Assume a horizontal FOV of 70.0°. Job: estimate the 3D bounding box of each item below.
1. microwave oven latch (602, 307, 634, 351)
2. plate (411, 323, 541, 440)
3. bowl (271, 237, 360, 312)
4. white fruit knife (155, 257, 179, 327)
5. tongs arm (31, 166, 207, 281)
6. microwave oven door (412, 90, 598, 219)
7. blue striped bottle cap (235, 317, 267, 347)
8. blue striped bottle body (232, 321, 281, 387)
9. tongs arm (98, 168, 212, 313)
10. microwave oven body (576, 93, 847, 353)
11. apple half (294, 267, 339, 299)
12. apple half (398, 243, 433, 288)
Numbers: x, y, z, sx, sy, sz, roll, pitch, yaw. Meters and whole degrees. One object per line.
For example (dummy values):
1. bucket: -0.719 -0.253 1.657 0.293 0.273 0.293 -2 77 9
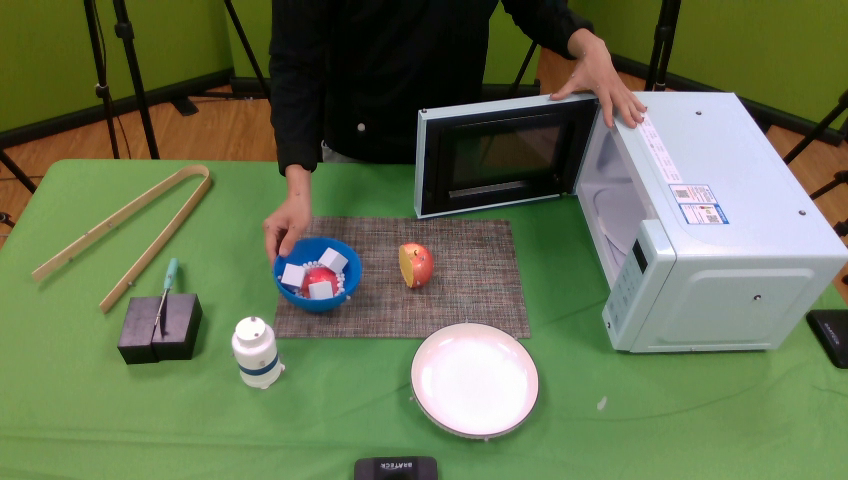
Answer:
1. microwave oven latch: 0.332 0.153 1.043 0.030 0.029 0.078 0 45 -4
2. plate: 0.082 0.228 0.976 0.208 0.039 0.206 2 45 -2
3. bowl: -0.188 0.074 1.062 0.151 0.077 0.150 6 44 -5
4. white fruit knife: -0.440 0.085 1.037 0.016 0.027 0.206 10 26 -19
5. tongs arm: -0.578 -0.040 1.184 0.050 0.026 0.384 23 48 17
6. microwave oven door: 0.155 -0.168 1.201 0.356 0.245 0.039 -10 47 -14
7. blue striped bottle cap: -0.259 0.137 0.907 0.044 0.021 0.044 3 43 -2
8. blue striped bottle body: -0.262 0.171 0.944 0.063 0.121 0.062 2 46 -2
9. tongs arm: -0.504 -0.012 1.167 0.028 0.028 0.385 11 46 11
10. microwave oven body: 0.475 -0.041 1.109 0.326 0.261 0.438 -1 45 -4
11. apple half: -0.187 0.070 1.060 0.081 0.033 0.081 5 44 -5
12. apple half: -0.012 0.046 1.115 0.053 0.075 0.080 -11 44 -20
